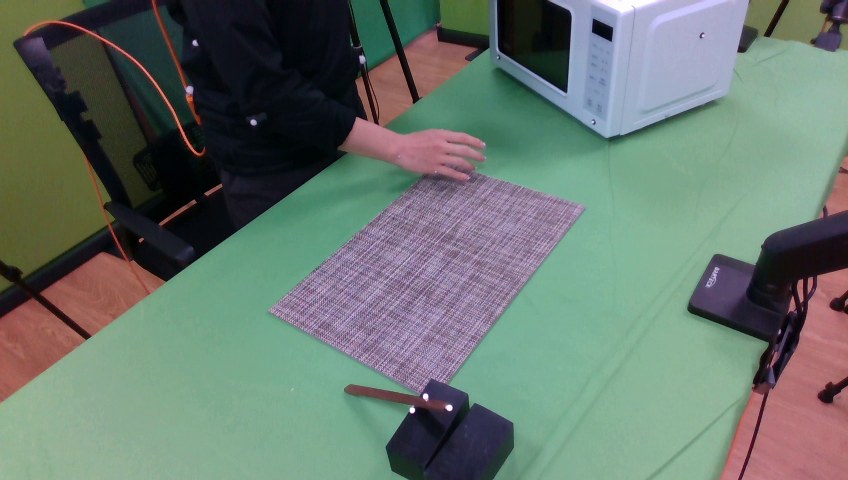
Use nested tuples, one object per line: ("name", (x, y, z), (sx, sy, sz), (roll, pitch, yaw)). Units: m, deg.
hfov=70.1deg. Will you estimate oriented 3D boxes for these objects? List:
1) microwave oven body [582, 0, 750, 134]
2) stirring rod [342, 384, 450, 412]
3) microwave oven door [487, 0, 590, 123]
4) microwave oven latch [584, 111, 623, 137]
("microwave oven body", (0.382, -0.444, 1.246), (0.327, 0.261, 0.437), (-22, 42, -16))
("stirring rod", (-0.038, 0.186, 0.714), (0.175, 0.006, 0.014), (-3, 22, 43))
("microwave oven door", (0.232, -0.420, 1.231), (0.039, 0.245, 0.352), (-22, 43, -16))
("microwave oven latch", (0.337, -0.222, 1.142), (0.030, 0.029, 0.078), (-21, 42, -14))
